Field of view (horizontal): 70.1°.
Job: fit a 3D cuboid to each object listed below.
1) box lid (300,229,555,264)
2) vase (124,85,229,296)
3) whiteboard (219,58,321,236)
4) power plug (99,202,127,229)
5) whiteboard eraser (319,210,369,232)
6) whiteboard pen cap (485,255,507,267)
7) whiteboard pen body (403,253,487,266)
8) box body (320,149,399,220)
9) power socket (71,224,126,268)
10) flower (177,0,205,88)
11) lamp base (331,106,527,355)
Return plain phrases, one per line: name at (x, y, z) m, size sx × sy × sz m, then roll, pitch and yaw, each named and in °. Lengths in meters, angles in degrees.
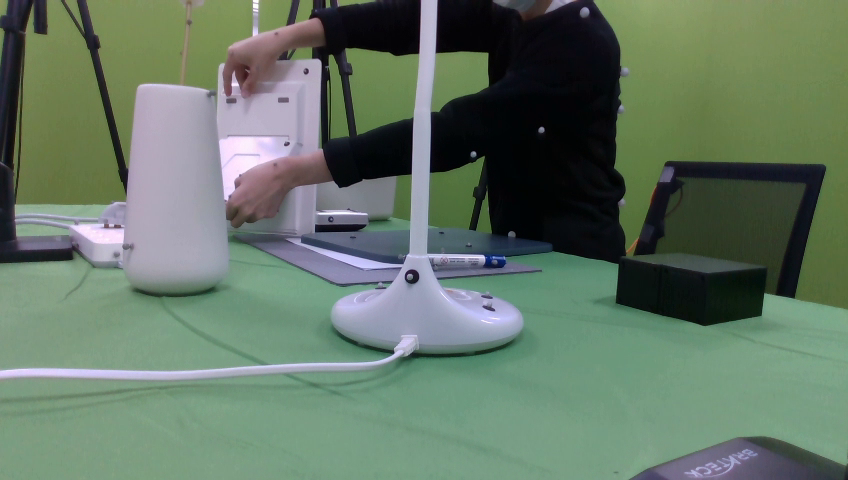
box lid at (0.011, 0.006, 0.998) m, size 0.374 × 0.015 × 0.262 m, roll -3°, pitch 9°, yaw -43°
vase at (-0.244, -0.047, 0.598) m, size 0.098 × 0.200 × 0.098 m, roll 3°, pitch 8°, yaw 0°
whiteboard at (-0.303, -0.157, 1.013) m, size 0.216 × 0.305 × 0.144 m, roll 4°, pitch 6°, yaw 23°
power plug at (-0.415, -0.026, 0.848) m, size 0.073 × 0.052 × 0.035 m, roll 6°, pitch 5°, yaw -28°
whiteboard eraser at (-0.168, -0.037, 1.172) m, size 0.113 × 0.042 × 0.055 m, roll -2°, pitch 7°, yaw -35°
whiteboard pen cap at (0.093, 0.028, 0.809) m, size 0.033 × 0.018 × 0.018 m, roll 0°, pitch 8°, yaw -23°
whiteboard pen body at (0.040, 0.026, 0.784) m, size 0.141 × 0.017 × 0.017 m, roll 2°, pitch 7°, yaw -24°
box body at (-0.264, -0.129, 1.380) m, size 0.253 × 0.160 × 0.366 m, roll 8°, pitch 9°, yaw 39°
power socket at (-0.409, 0.004, 0.793) m, size 0.072 × 0.032 × 0.225 m, roll -2°, pitch 8°, yaw -37°
flower at (-0.243, -0.131, 0.609) m, size 0.044 × 0.361 × 0.038 m, roll -5°, pitch -12°, yaw 12°
lamp base at (0.006, -0.012, 0.478) m, size 0.161 × 0.180 × 0.179 m, roll 2°, pitch 10°, yaw 2°
